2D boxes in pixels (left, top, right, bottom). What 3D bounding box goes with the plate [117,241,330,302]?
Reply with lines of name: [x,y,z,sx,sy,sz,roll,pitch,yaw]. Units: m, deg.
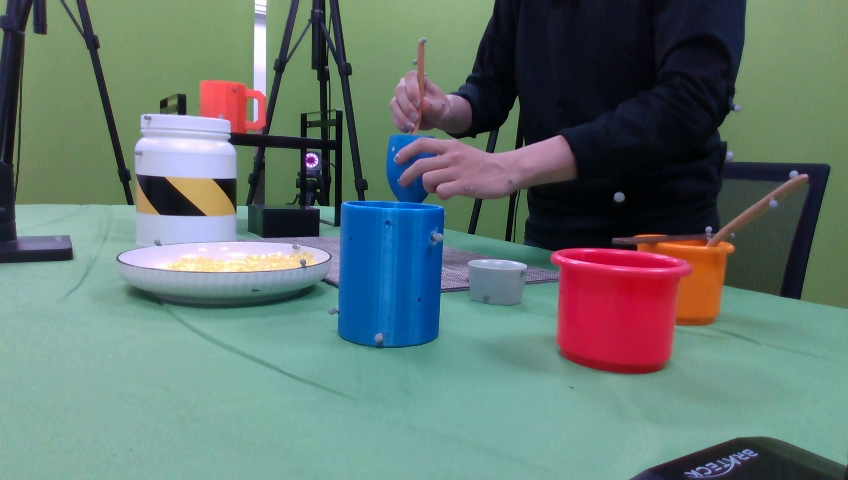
plate: [-0.203,0.031,0.630,0.209,0.038,0.209,3,7,0]

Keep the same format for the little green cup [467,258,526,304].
little green cup: [0.074,0.042,0.625,0.061,0.038,0.061,3,8,0]

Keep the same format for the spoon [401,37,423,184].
spoon: [-0.013,-0.173,0.819,0.022,0.193,0.041,7,9,-9]

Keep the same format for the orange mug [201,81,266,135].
orange mug: [-0.377,-0.260,1.198,0.126,0.101,0.083,-3,8,-6]

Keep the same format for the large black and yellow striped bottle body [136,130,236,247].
large black and yellow striped bottle body: [-0.332,-0.076,0.851,0.131,0.184,0.130,3,8,0]

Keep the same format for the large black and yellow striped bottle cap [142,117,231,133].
large black and yellow striped bottle cap: [-0.328,-0.159,0.839,0.115,0.019,0.115,1,9,0]

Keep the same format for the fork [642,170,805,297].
fork: [0.261,0.004,0.545,0.028,0.018,0.207,5,-37,-15]

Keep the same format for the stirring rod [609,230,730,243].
stirring rod: [0.241,-0.004,0.582,0.177,0.006,0.014,-4,9,-33]

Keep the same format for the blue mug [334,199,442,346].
blue mug: [-0.034,0.020,0.498,0.083,0.106,0.116,0,7,-20]

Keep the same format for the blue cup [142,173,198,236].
blue cup: [-0.425,-0.060,1.014,0.093,0.100,0.092,4,9,0]

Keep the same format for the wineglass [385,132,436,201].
wineglass: [-0.020,-0.061,0.842,0.074,0.172,0.073,2,7,0]
